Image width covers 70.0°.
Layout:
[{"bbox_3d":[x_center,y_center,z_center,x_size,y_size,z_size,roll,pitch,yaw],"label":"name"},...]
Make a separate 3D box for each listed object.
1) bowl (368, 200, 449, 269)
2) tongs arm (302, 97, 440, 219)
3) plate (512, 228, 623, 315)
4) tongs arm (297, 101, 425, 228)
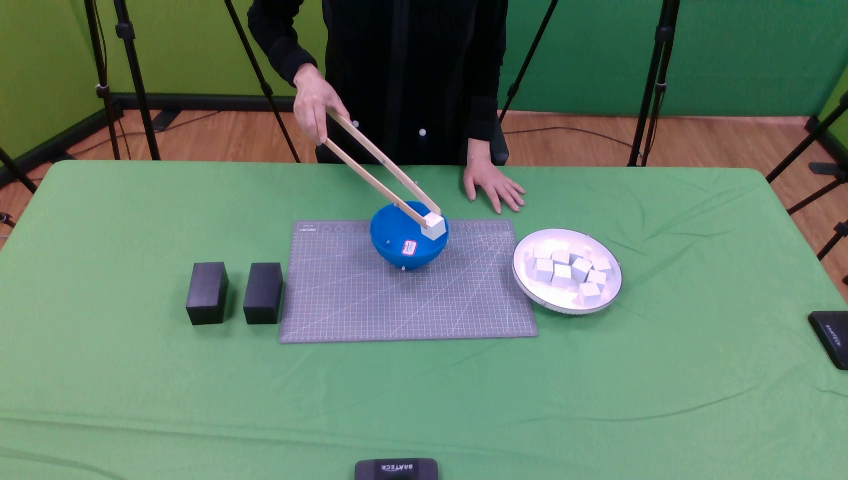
[{"bbox_3d":[-0.031,0.002,1.151,0.151,0.077,0.150,2,46,-2],"label":"bowl"},{"bbox_3d":[-0.108,-0.156,1.119,0.051,0.026,0.382,-32,60,-20],"label":"tongs arm"},{"bbox_3d":[0.268,0.063,1.146,0.208,0.039,0.206,3,46,-3],"label":"plate"},{"bbox_3d":[-0.125,-0.144,1.110,0.028,0.028,0.385,-38,62,-19],"label":"tongs arm"}]
